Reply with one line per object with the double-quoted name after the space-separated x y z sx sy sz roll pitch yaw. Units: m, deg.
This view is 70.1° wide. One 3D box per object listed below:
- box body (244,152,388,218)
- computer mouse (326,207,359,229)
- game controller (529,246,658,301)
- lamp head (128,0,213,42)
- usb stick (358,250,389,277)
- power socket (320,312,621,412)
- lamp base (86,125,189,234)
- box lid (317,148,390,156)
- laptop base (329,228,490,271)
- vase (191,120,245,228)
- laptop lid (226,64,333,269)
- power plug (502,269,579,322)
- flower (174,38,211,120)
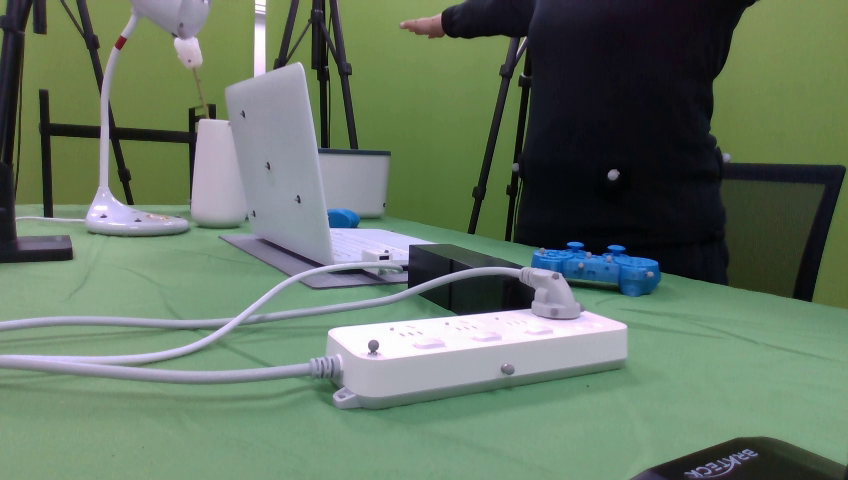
-0.297 -0.144 1.475 0.366 0.160 0.253 -1 9 -30 "box body"
-0.195 -0.046 1.241 0.117 0.041 0.063 0 10 12 "computer mouse"
0.202 0.036 0.733 0.155 0.051 0.097 5 10 19 "game controller"
-0.423 -0.394 0.980 0.123 0.112 0.112 20 7 -3 "lamp head"
-0.062 0.026 0.708 0.021 0.027 0.059 -3 5 -28 "usb stick"
0.038 0.075 0.409 0.228 0.032 0.072 -2 8 -29 "power socket"
-0.497 -0.105 1.027 0.179 0.180 0.160 1 7 2 "lamp base"
-0.295 -0.217 1.463 0.373 0.015 0.262 -1 8 -29 "box lid"
-0.096 0.011 0.912 0.237 0.023 0.352 2 7 -32 "laptop base"
-0.389 -0.124 1.143 0.098 0.200 0.098 3 9 0 "vase"
-0.209 -0.101 0.824 0.013 0.241 0.355 -13 16 -29 "laptop lid"
0.091 0.051 0.469 0.035 0.052 0.072 0 5 -18 "power plug"
-0.401 -0.207 1.141 0.038 0.361 0.044 -14 3 44 "flower"
